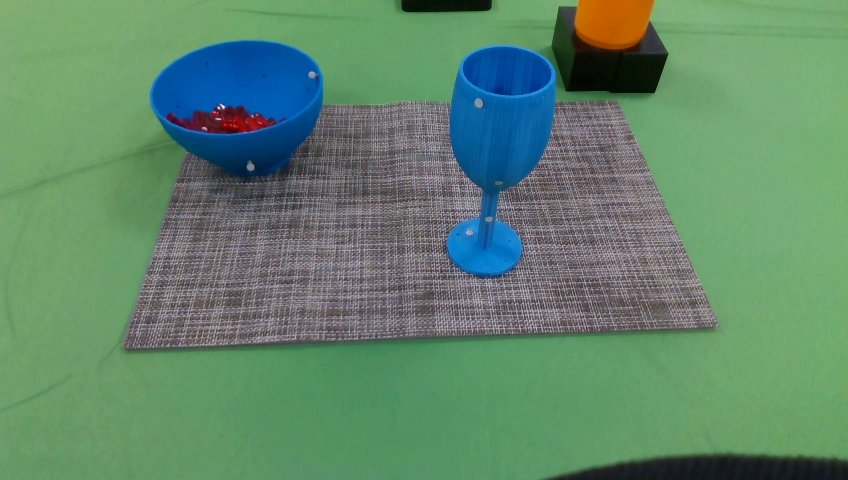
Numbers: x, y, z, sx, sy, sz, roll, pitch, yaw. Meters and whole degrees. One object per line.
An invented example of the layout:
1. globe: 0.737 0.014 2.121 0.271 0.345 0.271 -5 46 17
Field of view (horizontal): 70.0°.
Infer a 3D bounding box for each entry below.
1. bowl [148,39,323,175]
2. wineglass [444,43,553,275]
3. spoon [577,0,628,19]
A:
1. bowl: -0.167 -0.115 0.566 0.151 0.077 0.150 1 48 -1
2. wineglass: 0.051 -0.053 0.454 0.074 0.174 0.073 1 48 -1
3. spoon: 0.225 -0.258 0.600 0.041 0.193 0.022 -35 101 -25
